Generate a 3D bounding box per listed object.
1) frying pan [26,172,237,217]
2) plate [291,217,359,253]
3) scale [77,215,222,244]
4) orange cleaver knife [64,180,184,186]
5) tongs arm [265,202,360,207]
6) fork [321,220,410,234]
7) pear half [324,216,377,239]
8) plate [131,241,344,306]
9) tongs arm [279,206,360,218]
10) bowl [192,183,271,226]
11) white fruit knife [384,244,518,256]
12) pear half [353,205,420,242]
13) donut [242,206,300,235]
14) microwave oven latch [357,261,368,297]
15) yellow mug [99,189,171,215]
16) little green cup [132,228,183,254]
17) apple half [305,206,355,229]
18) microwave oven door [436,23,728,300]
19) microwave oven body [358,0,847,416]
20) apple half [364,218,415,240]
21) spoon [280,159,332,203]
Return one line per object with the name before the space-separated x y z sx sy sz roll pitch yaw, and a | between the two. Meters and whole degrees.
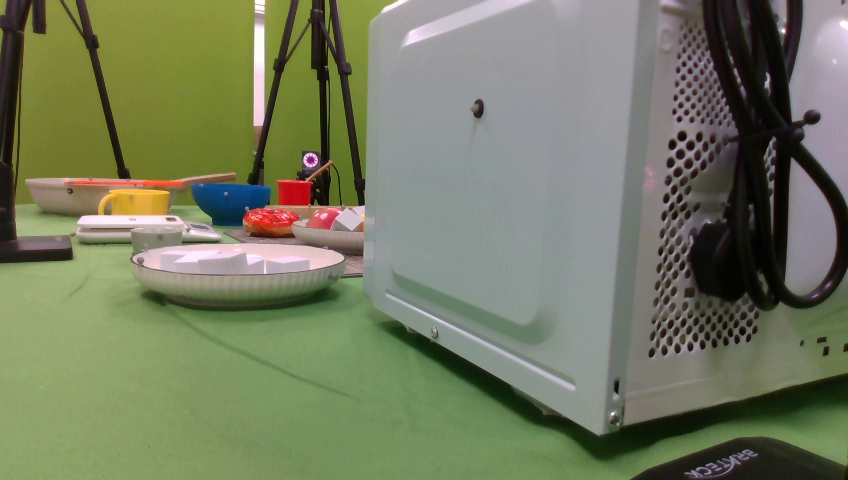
frying pan | -0.624 -0.118 1.387 0.305 0.102 0.490 8 17 32
plate | -0.103 -0.009 0.945 0.209 0.038 0.209 2 7 0
scale | -0.434 -0.019 0.963 0.202 0.031 0.148 -1 9 -27
orange cleaver knife | -0.595 -0.114 1.212 0.212 0.012 0.077 -4 7 -41
tongs arm | -0.218 -0.075 1.470 0.389 0.027 0.028 0 1 -26
fork | -0.104 -0.025 1.131 0.208 0.028 0.018 -1 34 -41
pear half | -0.119 -0.023 0.996 0.088 0.031 0.070 -4 23 -27
plate | -0.187 0.033 0.625 0.208 0.039 0.207 2 7 0
tongs arm | -0.171 -0.067 1.402 0.387 0.026 0.050 -3 6 -40
bowl | -0.382 -0.071 1.202 0.151 0.077 0.151 3 7 0
white fruit knife | 0.041 0.016 0.878 0.208 0.016 0.027 -2 -3 -24
pear half | -0.051 -0.024 0.905 0.110 0.056 0.076 2 -2 -38
donut | -0.263 -0.032 1.039 0.099 0.048 0.099 4 10 0
microwave oven latch | -0.019 0.033 0.531 0.079 0.029 0.030 -1 7 -27
yellow mug | -0.519 -0.055 1.080 0.099 0.064 0.131 6 9 26
little green cup | -0.342 0.006 0.779 0.061 0.038 0.061 2 8 0
apple half | -0.138 -0.025 0.917 0.081 0.053 0.074 0 10 -43
microwave oven door | 0.180 -0.072 0.621 0.358 0.243 0.039 -2 9 -29
microwave oven body | 0.211 -0.047 0.475 0.444 0.260 0.324 -1 7 -28
apple half | -0.054 -0.019 0.967 0.081 0.033 0.081 -4 8 1
spoon | -0.316 -0.159 1.640 0.194 0.022 0.041 -50 32 -20
